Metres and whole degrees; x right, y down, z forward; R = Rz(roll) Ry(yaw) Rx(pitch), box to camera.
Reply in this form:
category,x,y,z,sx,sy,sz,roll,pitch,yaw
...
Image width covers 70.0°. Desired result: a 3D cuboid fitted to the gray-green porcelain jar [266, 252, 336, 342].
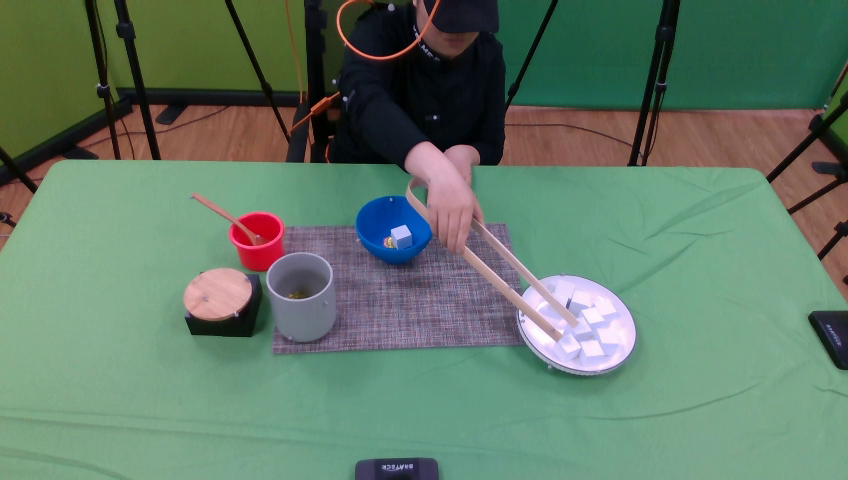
category,x,y,z,sx,sy,sz,roll,pitch,yaw
gray-green porcelain jar,-0.202,0.100,1.009,0.106,0.127,0.105,2,46,-2

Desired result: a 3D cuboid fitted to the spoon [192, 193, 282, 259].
category,x,y,z,sx,sy,sz,roll,pitch,yaw
spoon,-0.342,-0.027,1.115,0.194,0.021,0.041,43,41,-25

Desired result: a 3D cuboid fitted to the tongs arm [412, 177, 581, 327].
category,x,y,z,sx,sy,sz,roll,pitch,yaw
tongs arm,0.121,0.014,1.060,0.028,0.028,0.386,-37,70,-28

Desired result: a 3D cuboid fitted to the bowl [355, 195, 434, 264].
category,x,y,z,sx,sy,sz,roll,pitch,yaw
bowl,-0.056,-0.008,1.158,0.151,0.077,0.150,2,46,-2

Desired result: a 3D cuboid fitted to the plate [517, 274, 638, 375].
category,x,y,z,sx,sy,sz,roll,pitch,yaw
plate,0.264,0.149,1.060,0.209,0.038,0.208,3,46,-3

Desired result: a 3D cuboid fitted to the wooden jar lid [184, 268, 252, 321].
category,x,y,z,sx,sy,sz,roll,pitch,yaw
wooden jar lid,-0.343,0.093,1.015,0.108,0.021,0.107,3,46,-3

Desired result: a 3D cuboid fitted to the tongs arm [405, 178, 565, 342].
category,x,y,z,sx,sy,sz,roll,pitch,yaw
tongs arm,0.100,0.028,1.044,0.383,0.026,0.051,41,56,16
